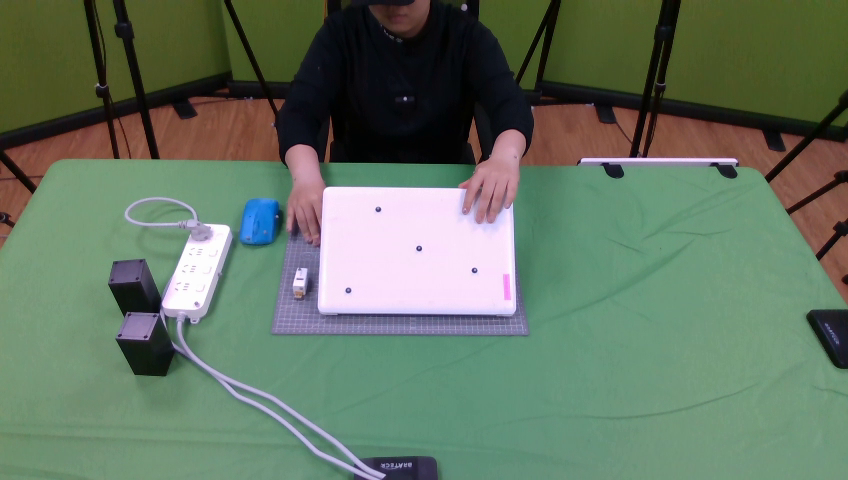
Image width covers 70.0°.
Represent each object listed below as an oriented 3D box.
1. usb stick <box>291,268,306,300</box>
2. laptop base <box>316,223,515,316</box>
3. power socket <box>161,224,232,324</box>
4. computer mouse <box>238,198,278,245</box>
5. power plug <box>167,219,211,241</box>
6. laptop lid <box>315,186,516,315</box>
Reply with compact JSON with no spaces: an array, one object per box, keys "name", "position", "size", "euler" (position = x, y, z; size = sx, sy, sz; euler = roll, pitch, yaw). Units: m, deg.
[{"name":"usb stick","position":[-0.227,0.081,1.094],"size":[0.021,0.027,0.059],"euler":[6,47,-5]},{"name":"laptop base","position":[-0.016,0.053,1.145],"size":[0.354,0.023,0.234],"euler":[1,42,-3]},{"name":"power socket","position":[-0.412,0.052,1.107],"size":[0.072,0.033,0.225],"euler":[4,45,-2]},{"name":"computer mouse","position":[-0.328,-0.039,1.200],"size":[0.063,0.041,0.116],"euler":[3,50,-4]},{"name":"power plug","position":[-0.438,-0.017,1.143],"size":[0.072,0.053,0.035],"euler":[10,43,6]},{"name":"laptop lid","position":[-0.012,0.016,1.085],"size":[0.357,0.013,0.240],"euler":[3,75,-3]}]
